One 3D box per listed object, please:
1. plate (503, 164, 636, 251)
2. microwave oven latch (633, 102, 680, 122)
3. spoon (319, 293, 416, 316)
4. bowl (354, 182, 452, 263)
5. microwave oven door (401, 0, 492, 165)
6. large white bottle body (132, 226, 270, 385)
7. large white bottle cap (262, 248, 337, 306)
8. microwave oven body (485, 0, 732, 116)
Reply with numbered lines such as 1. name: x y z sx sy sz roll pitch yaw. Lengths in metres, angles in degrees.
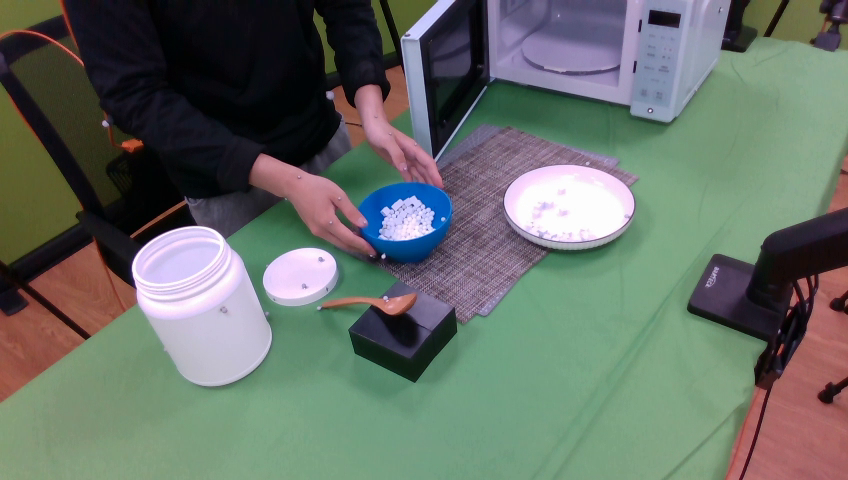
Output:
1. plate: 0.232 -0.050 0.976 0.209 0.038 0.208 -3 41 3
2. microwave oven latch: 0.444 -0.249 1.157 0.078 0.029 0.030 21 49 30
3. spoon: -0.082 0.086 0.826 0.192 0.022 0.041 -3 37 41
4. bowl: -0.028 -0.017 0.943 0.151 0.077 0.150 -4 39 3
5. microwave oven door: 0.056 -0.343 1.167 0.039 0.245 0.356 11 44 21
6. large white bottle body: -0.286 0.085 0.783 0.130 0.185 0.130 -4 41 4
7. large white bottle cap: -0.193 0.056 0.934 0.115 0.018 0.114 -4 41 4
8. microwave oven body: 0.377 -0.462 1.267 0.438 0.261 0.327 21 49 30
